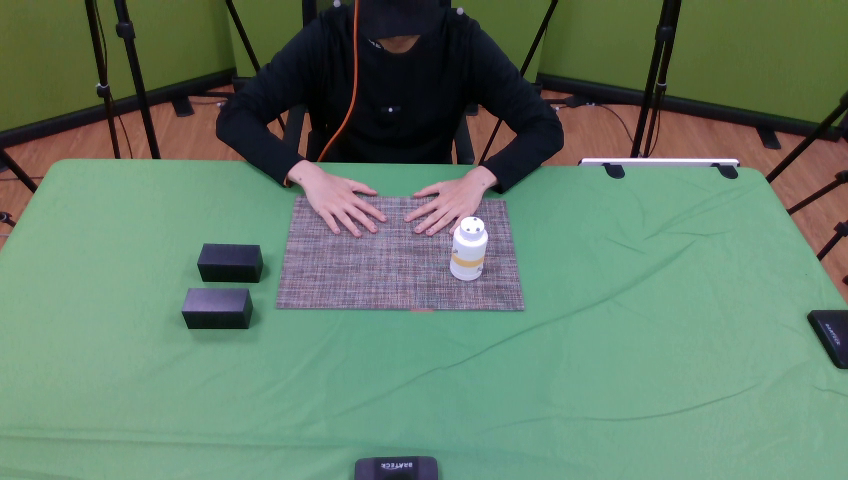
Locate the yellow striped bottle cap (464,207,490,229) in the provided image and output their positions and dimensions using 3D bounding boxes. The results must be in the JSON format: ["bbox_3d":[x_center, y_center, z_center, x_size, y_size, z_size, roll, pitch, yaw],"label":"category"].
[{"bbox_3d":[0.092,-0.039,1.064,0.044,0.019,0.044,5,39,-4],"label":"yellow striped bottle cap"}]

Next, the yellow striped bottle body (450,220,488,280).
[{"bbox_3d":[0.083,0.012,1.117,0.063,0.121,0.062,2,46,-2],"label":"yellow striped bottle body"}]
